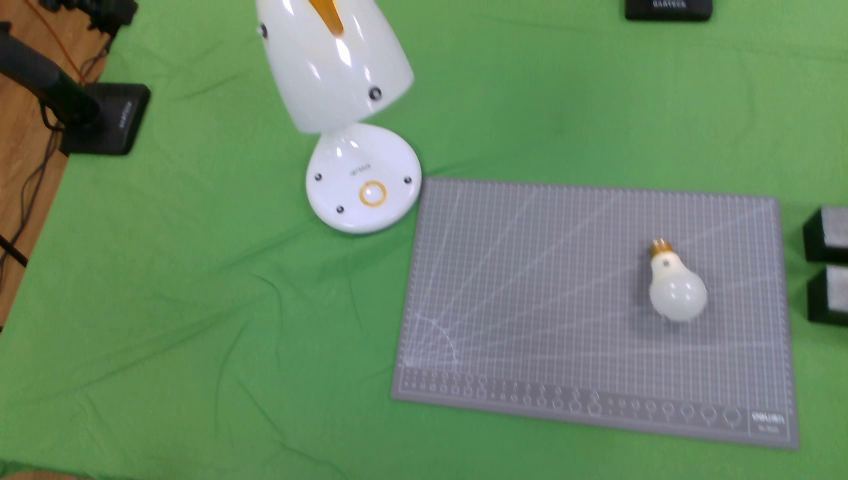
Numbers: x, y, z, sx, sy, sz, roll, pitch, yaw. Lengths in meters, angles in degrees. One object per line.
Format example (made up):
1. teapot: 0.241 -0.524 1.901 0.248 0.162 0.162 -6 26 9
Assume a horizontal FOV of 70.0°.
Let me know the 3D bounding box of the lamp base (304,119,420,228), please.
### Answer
1. lamp base: -0.102 -0.128 0.760 0.160 0.182 0.177 -35 65 -7

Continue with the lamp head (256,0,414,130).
1. lamp head: -0.081 -0.167 0.489 0.112 0.124 0.111 -20 27 11

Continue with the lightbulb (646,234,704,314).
1. lightbulb: 0.286 0.037 0.709 0.059 0.060 0.106 -9 52 4
